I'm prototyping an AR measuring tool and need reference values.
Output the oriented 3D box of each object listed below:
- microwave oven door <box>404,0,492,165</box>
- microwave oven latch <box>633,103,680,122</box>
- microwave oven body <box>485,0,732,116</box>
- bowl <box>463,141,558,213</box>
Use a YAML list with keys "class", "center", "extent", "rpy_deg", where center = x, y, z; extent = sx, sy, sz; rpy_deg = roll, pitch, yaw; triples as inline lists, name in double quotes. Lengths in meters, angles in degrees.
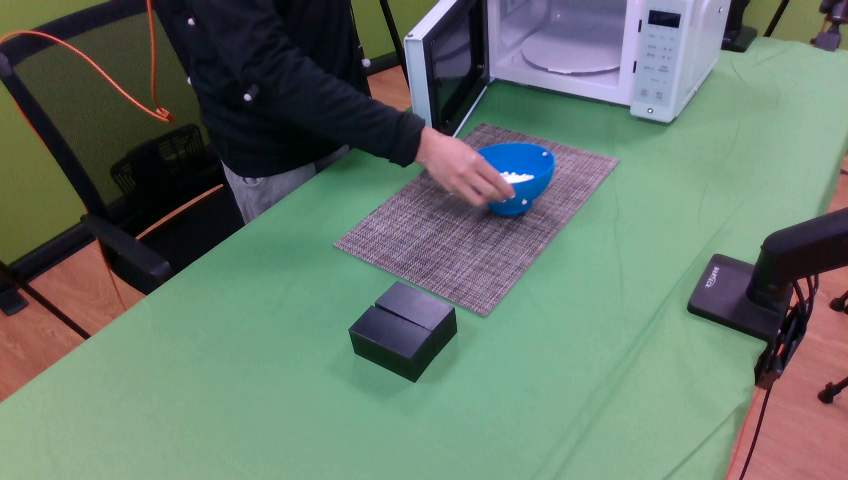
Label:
- class: "microwave oven door"
  center: [0.058, -0.343, 1.166]
  extent: [0.039, 0.245, 0.356]
  rpy_deg: [10, 43, 20]
- class: "microwave oven latch"
  center: [0.443, -0.249, 1.157]
  extent: [0.078, 0.029, 0.030]
  rpy_deg: [21, 48, 30]
- class: "microwave oven body"
  center: [0.377, -0.462, 1.267]
  extent: [0.438, 0.261, 0.327]
  rpy_deg: [21, 48, 30]
- class: "bowl"
  center: [0.142, -0.095, 0.984]
  extent: [0.151, 0.077, 0.150]
  rpy_deg: [-6, 32, 4]
